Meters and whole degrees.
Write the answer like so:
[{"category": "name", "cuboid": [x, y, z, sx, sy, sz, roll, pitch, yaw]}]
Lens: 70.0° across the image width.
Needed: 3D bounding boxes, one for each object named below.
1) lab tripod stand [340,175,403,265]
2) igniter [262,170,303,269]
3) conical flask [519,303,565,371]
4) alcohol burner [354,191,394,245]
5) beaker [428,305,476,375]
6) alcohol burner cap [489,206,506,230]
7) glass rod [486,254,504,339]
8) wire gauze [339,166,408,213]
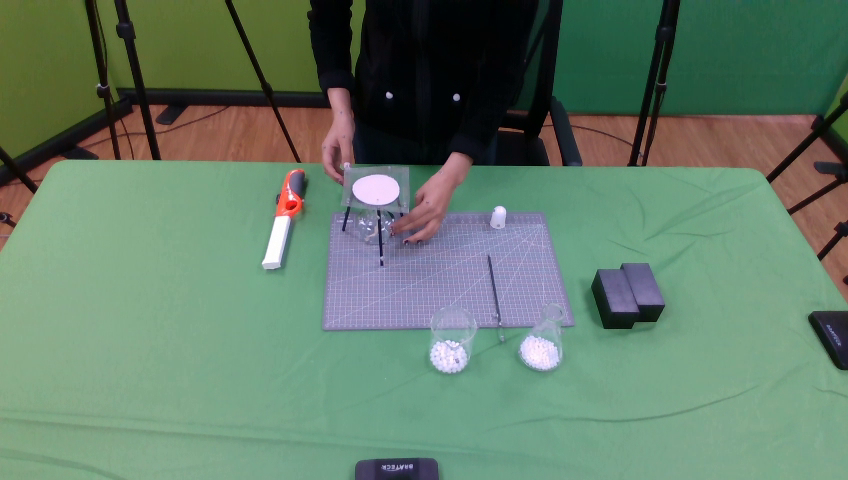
[{"category": "lab tripod stand", "cuboid": [-0.094, -0.050, 1.160, 0.148, 0.132, 0.147, 2, 44, -2]}, {"category": "igniter", "cuboid": [-0.283, -0.050, 1.222, 0.057, 0.025, 0.275, -5, 45, 6]}, {"category": "conical flask", "cuboid": [0.201, 0.155, 0.997, 0.075, 0.122, 0.075, 2, 46, -2]}, {"category": "alcohol burner", "cuboid": [-0.096, -0.048, 1.171, 0.078, 0.119, 0.077, 4, 45, -4]}, {"category": "beaker", "cuboid": [0.044, 0.169, 0.987, 0.074, 0.101, 0.083, 1, 47, -3]}, {"category": "alcohol burner cap", "cuboid": [0.152, -0.047, 1.241, 0.034, 0.048, 0.033, 2, 46, -2]}, {"category": "glass rod", "cuboid": [0.129, 0.100, 1.119, 0.008, 0.008, 0.198, -1, 46, -4]}, {"category": "wire gauze", "cuboid": [-0.091, -0.096, 1.110, 0.125, 0.011, 0.120, 2, 45, -3]}]
